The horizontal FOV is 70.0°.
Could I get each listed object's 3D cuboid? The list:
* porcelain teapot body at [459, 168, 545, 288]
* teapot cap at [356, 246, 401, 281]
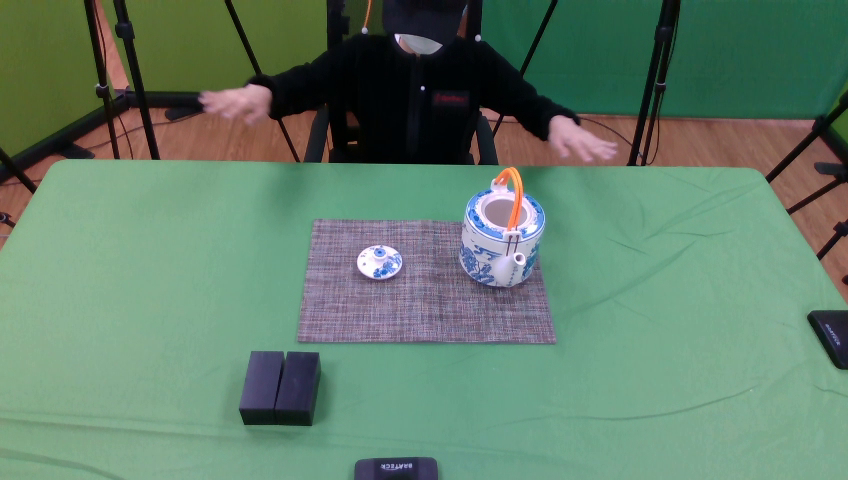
[{"bbox_3d":[0.146,-0.006,1.070,0.145,0.226,0.204,-4,46,-8],"label":"porcelain teapot body"},{"bbox_3d":[-0.085,0.039,1.135,0.085,0.044,0.084,4,47,-4],"label":"teapot cap"}]
